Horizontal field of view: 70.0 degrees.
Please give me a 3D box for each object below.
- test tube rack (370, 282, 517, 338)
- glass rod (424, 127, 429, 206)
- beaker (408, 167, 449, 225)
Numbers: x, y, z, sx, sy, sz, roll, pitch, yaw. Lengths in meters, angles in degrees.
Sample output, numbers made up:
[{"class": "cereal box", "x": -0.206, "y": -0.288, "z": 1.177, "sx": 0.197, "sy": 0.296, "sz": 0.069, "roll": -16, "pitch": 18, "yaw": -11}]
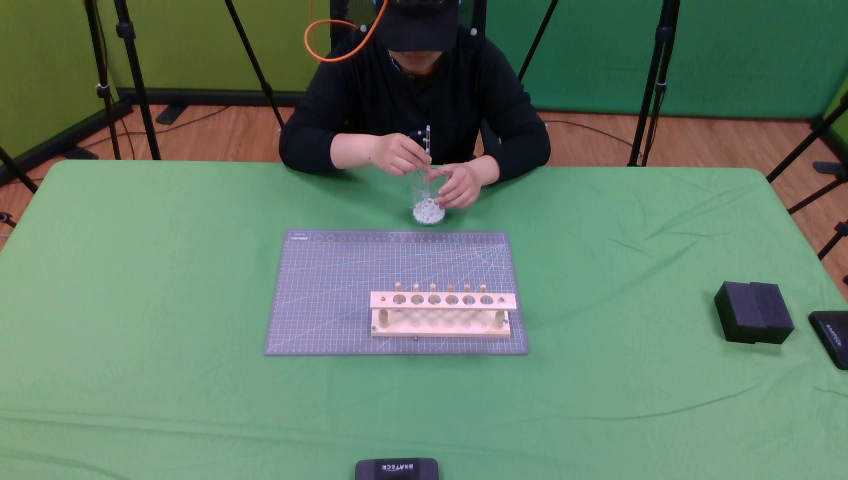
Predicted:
[{"class": "test tube rack", "x": 0.030, "y": 0.116, "z": 1.041, "sx": 0.242, "sy": 0.085, "sz": 0.066, "roll": 1, "pitch": 46, "yaw": -3}, {"class": "glass rod", "x": 0.004, "y": -0.139, "z": 1.186, "sx": 0.008, "sy": 0.201, "sz": 0.008, "roll": 1, "pitch": 48, "yaw": -1}, {"class": "beaker", "x": 0.011, "y": -0.086, "z": 1.219, "sx": 0.084, "sy": 0.101, "sz": 0.073, "roll": -17, "pitch": 50, "yaw": -15}]
